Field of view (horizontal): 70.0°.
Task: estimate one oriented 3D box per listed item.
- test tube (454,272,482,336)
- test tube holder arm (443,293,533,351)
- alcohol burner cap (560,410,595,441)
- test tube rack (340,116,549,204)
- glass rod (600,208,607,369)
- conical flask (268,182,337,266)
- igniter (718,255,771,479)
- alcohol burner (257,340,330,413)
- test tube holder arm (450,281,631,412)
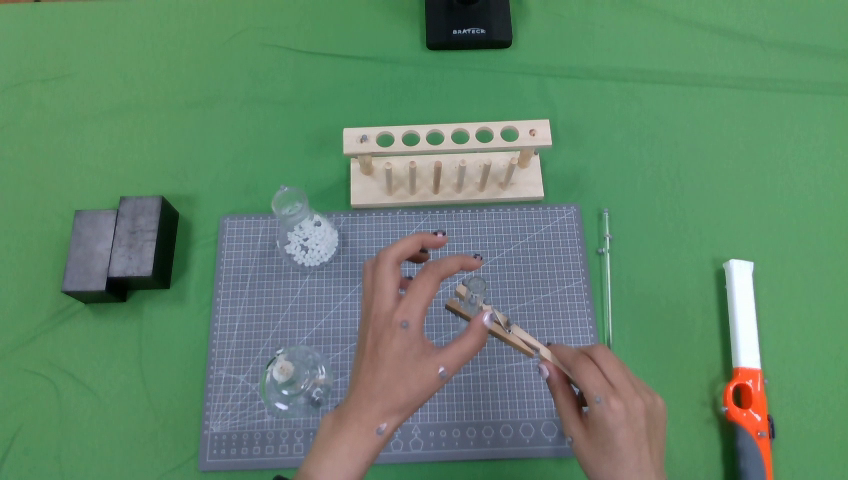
[{"bbox_3d":[0.038,0.061,0.544,0.017,0.151,0.017,0,66,0],"label":"test tube"},{"bbox_3d":[0.056,0.071,0.525,0.087,0.015,0.010,27,75,12],"label":"test tube holder arm"},{"bbox_3d":[0.167,0.198,0.652,0.034,0.048,0.033,0,69,1],"label":"alcohol burner cap"},{"bbox_3d":[0.024,-0.096,0.738,0.242,0.086,0.066,-3,70,-1],"label":"test tube rack"},{"bbox_3d":[0.215,0.054,0.725,0.008,0.008,0.198,4,73,1],"label":"glass rod"},{"bbox_3d":[-0.144,-0.022,0.687,0.075,0.122,0.075,0,70,0],"label":"conical flask"},{"bbox_3d":[0.357,0.149,0.681,0.057,0.025,0.275,9,70,-7],"label":"igniter"},{"bbox_3d":[-0.140,0.139,0.634,0.078,0.120,0.077,-1,68,2],"label":"alcohol burner"},{"bbox_3d":[0.096,0.089,0.517,0.177,0.015,0.013,33,77,13],"label":"test tube holder arm"}]
